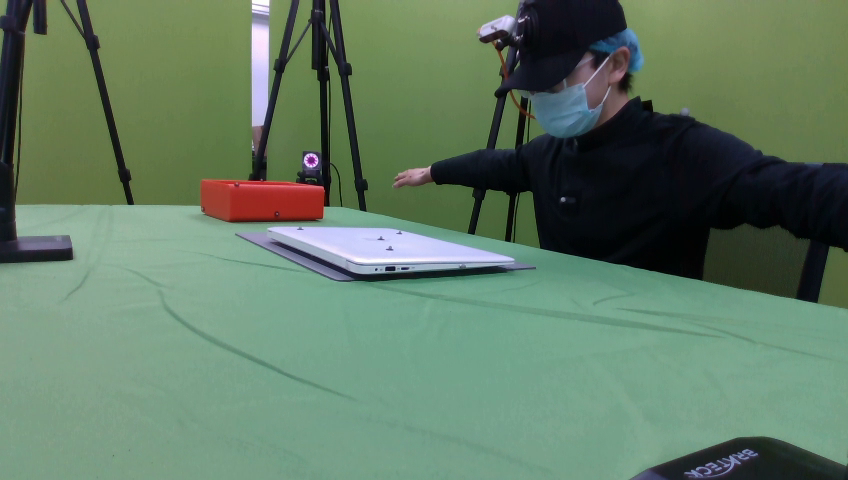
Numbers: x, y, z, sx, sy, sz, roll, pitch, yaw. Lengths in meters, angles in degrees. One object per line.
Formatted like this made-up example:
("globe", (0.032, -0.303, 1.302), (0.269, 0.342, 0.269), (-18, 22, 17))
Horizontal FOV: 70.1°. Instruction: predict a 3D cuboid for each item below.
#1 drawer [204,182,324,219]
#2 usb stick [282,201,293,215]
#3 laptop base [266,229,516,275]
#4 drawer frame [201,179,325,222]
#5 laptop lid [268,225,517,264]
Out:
("drawer", (-0.360, -0.091, 1.358), (0.213, 0.073, 0.193), (-4, 10, -36))
("usb stick", (-0.308, -0.073, 1.367), (0.021, 0.027, 0.059), (4, 5, -17))
("laptop base", (-0.065, 0.014, 0.877), (0.237, 0.023, 0.352), (2, 7, -32))
("drawer frame", (-0.362, -0.092, 1.356), (0.215, 0.082, 0.200), (-4, 10, -37))
("laptop lid", (-0.063, 0.002, 0.877), (0.243, 0.013, 0.355), (1, 7, -30))
